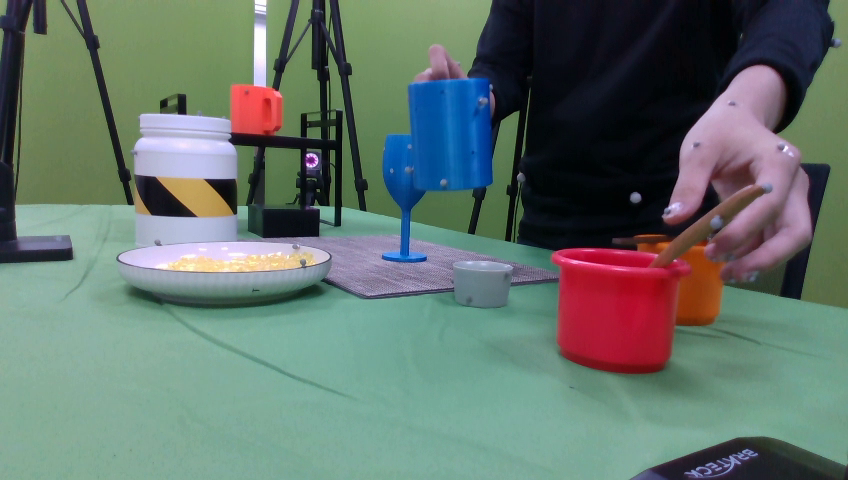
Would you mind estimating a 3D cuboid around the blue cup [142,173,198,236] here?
[{"bbox_3d":[-0.425,-0.060,1.014,0.093,0.100,0.092,4,9,0],"label":"blue cup"}]

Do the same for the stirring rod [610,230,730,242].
[{"bbox_3d":[0.241,-0.005,0.582,0.177,0.006,0.014,-3,10,-33],"label":"stirring rod"}]

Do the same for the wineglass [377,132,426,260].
[{"bbox_3d":[-0.026,-0.062,0.841,0.074,0.172,0.073,2,7,0],"label":"wineglass"}]

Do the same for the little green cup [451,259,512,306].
[{"bbox_3d":[0.057,0.043,0.612,0.061,0.038,0.061,3,7,0],"label":"little green cup"}]

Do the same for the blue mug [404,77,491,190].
[{"bbox_3d":[0.022,-0.111,0.628,0.082,0.106,0.116,-6,12,-10],"label":"blue mug"}]

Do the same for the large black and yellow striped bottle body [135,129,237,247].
[{"bbox_3d":[-0.327,-0.074,0.838,0.131,0.184,0.130,2,7,0],"label":"large black and yellow striped bottle body"}]

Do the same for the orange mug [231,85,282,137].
[{"bbox_3d":[-0.335,-0.261,1.225,0.125,0.100,0.084,2,6,35],"label":"orange mug"}]

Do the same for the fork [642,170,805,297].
[{"bbox_3d":[0.262,0.004,0.545,0.028,0.018,0.207,3,-37,-16],"label":"fork"}]

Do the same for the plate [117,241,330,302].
[{"bbox_3d":[-0.203,0.031,0.630,0.209,0.038,0.209,3,7,0],"label":"plate"}]

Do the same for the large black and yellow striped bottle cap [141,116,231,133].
[{"bbox_3d":[-0.324,-0.157,0.826,0.115,0.019,0.115,1,7,0],"label":"large black and yellow striped bottle cap"}]

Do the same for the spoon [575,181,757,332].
[{"bbox_3d":[0.156,0.019,0.412,0.042,0.021,0.193,1,-36,-16],"label":"spoon"}]
